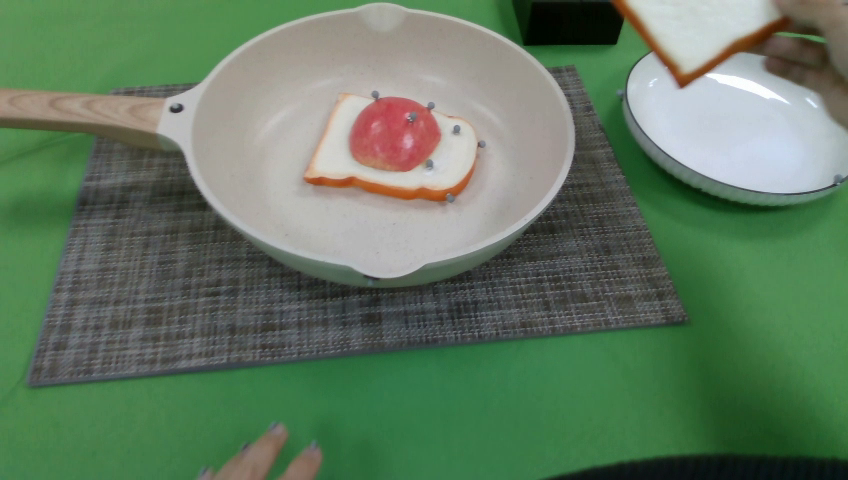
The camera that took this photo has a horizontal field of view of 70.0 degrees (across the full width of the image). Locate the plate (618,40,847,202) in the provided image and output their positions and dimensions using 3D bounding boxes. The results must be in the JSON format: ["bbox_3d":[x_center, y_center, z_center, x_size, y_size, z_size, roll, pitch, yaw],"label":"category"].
[{"bbox_3d":[0.277,-0.109,0.548,0.208,0.039,0.205,2,53,-2],"label":"plate"}]

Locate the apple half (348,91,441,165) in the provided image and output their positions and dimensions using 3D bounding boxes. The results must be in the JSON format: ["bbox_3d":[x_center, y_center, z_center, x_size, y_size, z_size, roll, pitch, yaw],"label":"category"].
[{"bbox_3d":[-0.026,-0.098,0.497,0.081,0.033,0.080,0,51,0],"label":"apple half"}]

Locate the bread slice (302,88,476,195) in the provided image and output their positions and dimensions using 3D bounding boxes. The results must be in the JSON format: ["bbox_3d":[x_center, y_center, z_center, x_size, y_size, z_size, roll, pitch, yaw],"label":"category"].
[{"bbox_3d":[-0.024,-0.083,0.515,0.134,0.018,0.106,8,54,4],"label":"bread slice"}]

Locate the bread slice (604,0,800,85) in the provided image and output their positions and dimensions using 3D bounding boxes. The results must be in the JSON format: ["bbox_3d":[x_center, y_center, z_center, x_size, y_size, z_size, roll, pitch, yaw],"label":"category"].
[{"bbox_3d":[0.191,-0.179,0.400,0.131,0.019,0.104,-32,71,9],"label":"bread slice"}]

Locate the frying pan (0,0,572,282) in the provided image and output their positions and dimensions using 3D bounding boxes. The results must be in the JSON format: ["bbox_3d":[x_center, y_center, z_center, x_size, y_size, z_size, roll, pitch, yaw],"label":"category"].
[{"bbox_3d":[-0.136,-0.091,0.467,0.489,0.103,0.303,5,51,-10],"label":"frying pan"}]
